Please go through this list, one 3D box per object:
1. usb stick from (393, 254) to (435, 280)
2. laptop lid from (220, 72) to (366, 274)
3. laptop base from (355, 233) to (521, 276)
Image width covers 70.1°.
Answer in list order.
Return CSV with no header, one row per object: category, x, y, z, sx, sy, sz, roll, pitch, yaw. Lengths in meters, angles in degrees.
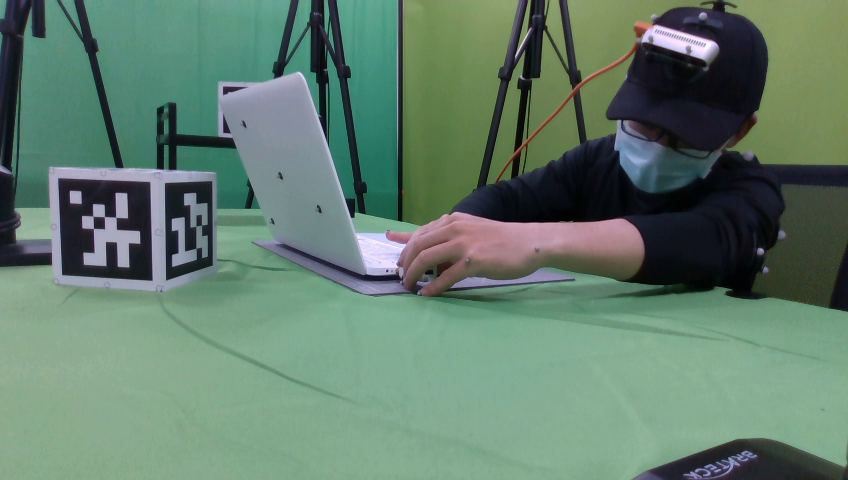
usb stick,-0.014,0.030,0.688,0.021,0.027,0.059,-9,5,-40
laptop lid,-0.188,-0.087,0.801,0.013,0.242,0.355,-26,21,-26
laptop base,-0.056,0.018,0.898,0.237,0.023,0.352,2,6,-32
